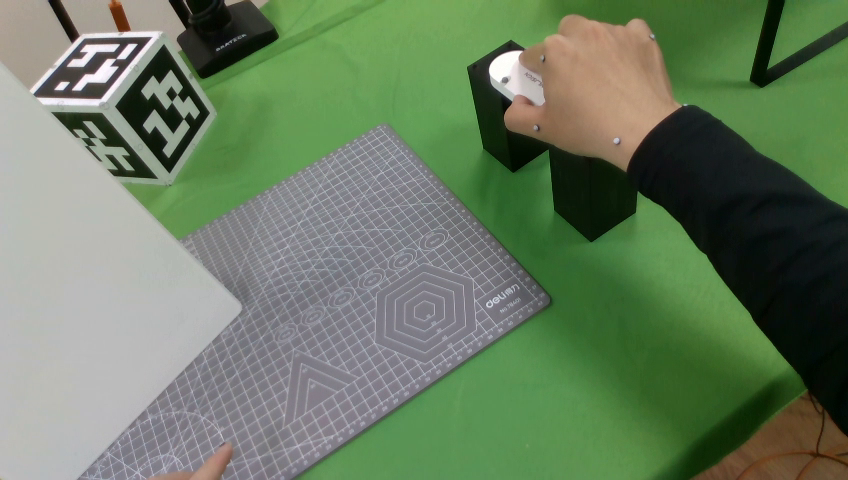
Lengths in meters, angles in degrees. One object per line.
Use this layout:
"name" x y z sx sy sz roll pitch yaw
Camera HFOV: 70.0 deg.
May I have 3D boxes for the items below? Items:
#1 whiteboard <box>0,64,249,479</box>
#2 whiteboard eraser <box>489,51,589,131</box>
"whiteboard" -0.339 0.023 0.484 0.142 0.308 0.217 16 59 49
"whiteboard eraser" 0.091 -0.123 0.489 0.041 0.019 0.100 -33 52 -11
